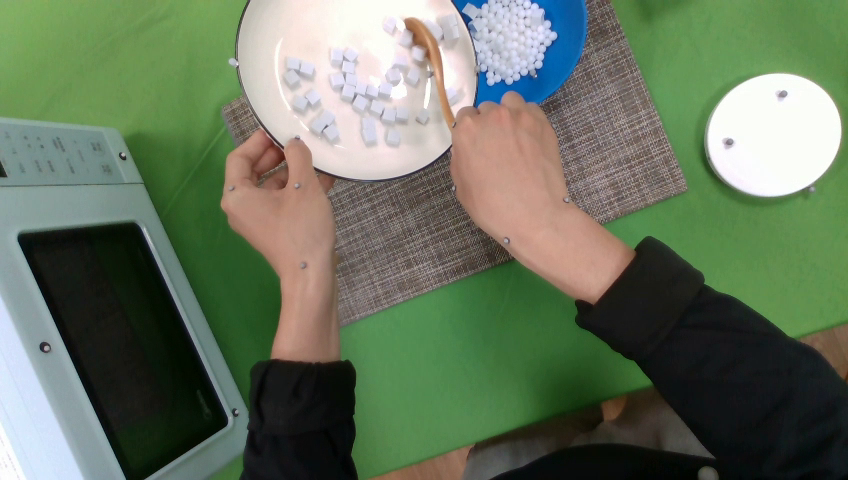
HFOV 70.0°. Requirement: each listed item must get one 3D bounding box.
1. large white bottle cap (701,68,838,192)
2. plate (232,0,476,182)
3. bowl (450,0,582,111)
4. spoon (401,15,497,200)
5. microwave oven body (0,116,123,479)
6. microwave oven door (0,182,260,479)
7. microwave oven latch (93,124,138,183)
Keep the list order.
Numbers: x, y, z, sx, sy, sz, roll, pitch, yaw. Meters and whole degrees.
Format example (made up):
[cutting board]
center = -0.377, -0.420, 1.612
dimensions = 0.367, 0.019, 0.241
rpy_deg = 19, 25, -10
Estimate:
[large white bottle cap]
center = 0.325, -0.102, 0.572
dimensions = 0.114, 0.018, 0.115
rpy_deg = 2, 98, 15
[plate]
center = -0.058, -0.150, 0.530
dimensions = 0.210, 0.038, 0.208
rpy_deg = 2, 84, -16
[bowl]
center = 0.081, -0.200, 0.595
dimensions = 0.151, 0.077, 0.151
rpy_deg = 2, 98, 17
[spoon]
center = 0.020, -0.115, 0.516
dimensions = 0.041, 0.022, 0.192
rpy_deg = -38, 60, 36
[microwave oven body]
center = -0.469, 0.128, 0.705
dimensions = 0.326, 0.260, 0.441
rpy_deg = -25, 90, 17
[microwave oven door]
center = -0.327, 0.107, 0.656
dimensions = 0.039, 0.244, 0.355
rpy_deg = -26, 89, 18
[microwave oven latch]
center = -0.388, -0.104, 0.752
dimensions = 0.030, 0.029, 0.079
rpy_deg = -24, 91, 17
